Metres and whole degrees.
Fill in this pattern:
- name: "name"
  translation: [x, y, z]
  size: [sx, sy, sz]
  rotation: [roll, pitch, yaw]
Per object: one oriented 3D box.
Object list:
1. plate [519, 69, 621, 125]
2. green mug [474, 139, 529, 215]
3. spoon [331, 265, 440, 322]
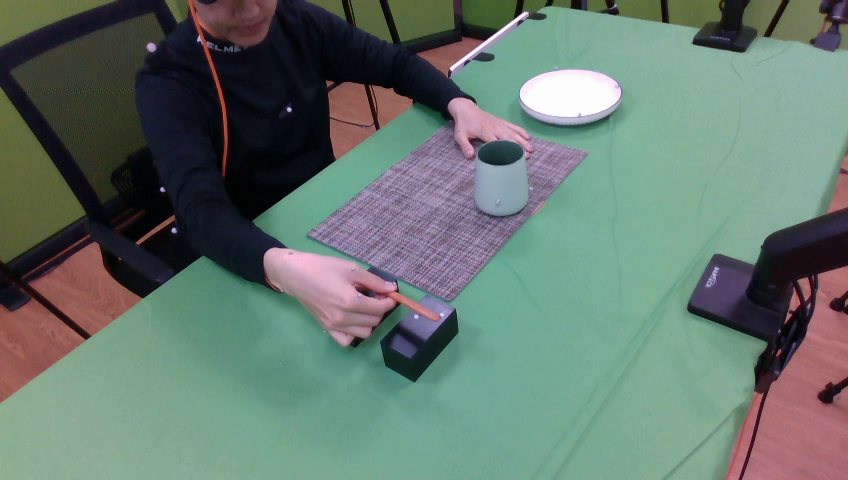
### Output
- name: "plate"
  translation: [0.300, -0.293, 1.253]
  size: [0.209, 0.038, 0.208]
  rotation: [-4, 41, 4]
- name: "green mug"
  translation: [0.126, -0.113, 1.013]
  size: [0.092, 0.105, 0.124]
  rotation: [-8, 41, 0]
- name: "spoon"
  translation: [-0.054, 0.069, 0.798]
  size: [0.192, 0.021, 0.042]
  rotation: [18, 27, 40]
